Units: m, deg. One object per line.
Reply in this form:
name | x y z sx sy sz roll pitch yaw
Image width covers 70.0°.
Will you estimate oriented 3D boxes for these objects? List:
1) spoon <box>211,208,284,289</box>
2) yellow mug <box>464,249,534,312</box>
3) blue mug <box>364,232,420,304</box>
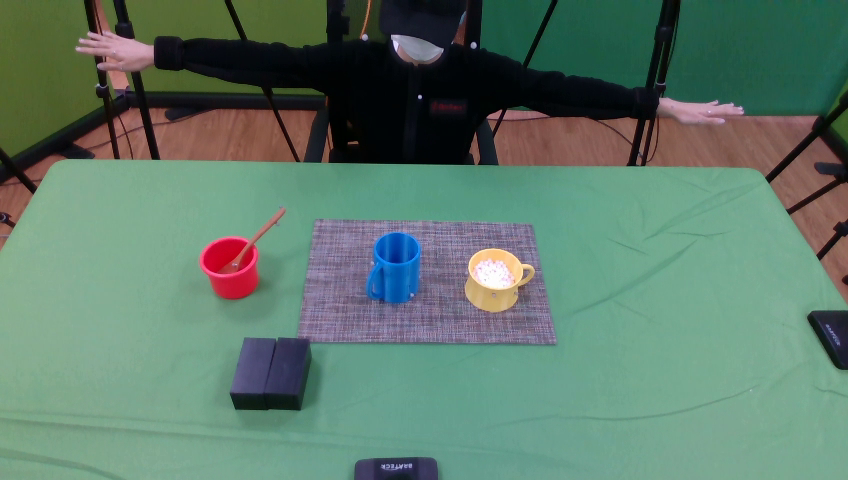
spoon | -0.313 0.015 1.076 0.194 0.022 0.041 -48 54 12
yellow mug | 0.141 0.070 1.105 0.131 0.064 0.099 -9 47 -14
blue mug | -0.062 0.059 1.074 0.082 0.106 0.116 35 53 27
